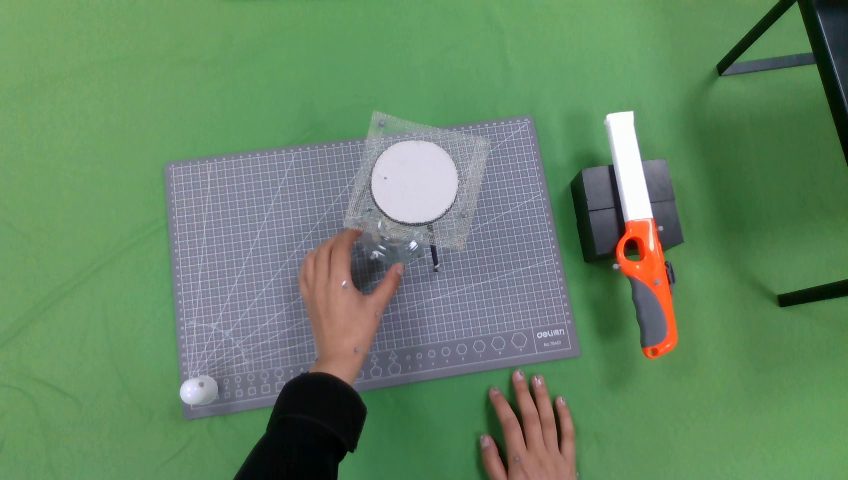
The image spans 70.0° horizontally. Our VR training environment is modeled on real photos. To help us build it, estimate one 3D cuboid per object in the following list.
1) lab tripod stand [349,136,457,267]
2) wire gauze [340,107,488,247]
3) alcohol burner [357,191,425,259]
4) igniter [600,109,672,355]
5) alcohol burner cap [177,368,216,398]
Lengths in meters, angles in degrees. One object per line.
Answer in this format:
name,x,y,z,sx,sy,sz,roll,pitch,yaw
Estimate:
lab tripod stand,-0.014,-0.051,0.658,0.148,0.132,0.147,0,77,-1
wire gauze,-0.008,-0.062,0.591,0.121,0.011,0.124,14,78,0
alcohol burner,-0.036,-0.019,0.660,0.078,0.119,0.077,0,81,-2
igniter,0.233,-0.013,0.670,0.057,0.025,0.275,-6,78,0
alcohol burner cap,-0.249,0.156,0.654,0.034,0.048,0.033,1,79,-3
